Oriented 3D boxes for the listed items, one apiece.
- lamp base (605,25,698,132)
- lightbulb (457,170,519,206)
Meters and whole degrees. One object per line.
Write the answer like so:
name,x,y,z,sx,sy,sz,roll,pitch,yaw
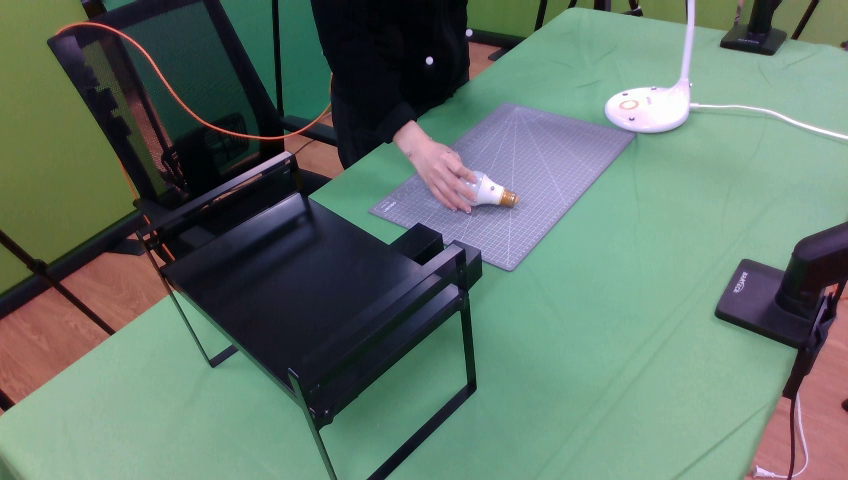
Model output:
lamp base,0.448,-0.321,1.161,0.179,0.181,0.159,-6,41,-2
lightbulb,0.108,-0.083,1.026,0.107,0.059,0.059,17,45,6
